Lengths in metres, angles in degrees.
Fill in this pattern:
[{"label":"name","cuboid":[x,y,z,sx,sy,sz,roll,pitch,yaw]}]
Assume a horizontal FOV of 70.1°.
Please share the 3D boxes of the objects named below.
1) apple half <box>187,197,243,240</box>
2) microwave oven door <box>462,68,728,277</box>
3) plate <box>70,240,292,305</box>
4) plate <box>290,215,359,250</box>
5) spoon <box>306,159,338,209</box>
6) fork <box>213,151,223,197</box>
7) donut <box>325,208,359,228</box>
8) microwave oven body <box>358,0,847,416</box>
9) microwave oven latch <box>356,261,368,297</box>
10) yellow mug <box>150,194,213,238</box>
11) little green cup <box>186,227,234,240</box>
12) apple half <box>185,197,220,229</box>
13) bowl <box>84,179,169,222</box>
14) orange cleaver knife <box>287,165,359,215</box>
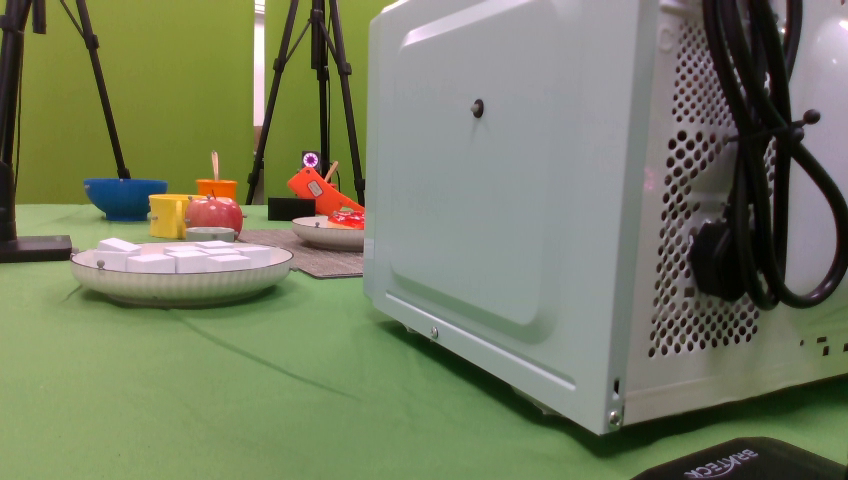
[{"label":"apple half","cuboid":[-0.305,-0.026,0.907,0.053,0.074,0.081,12,8,31]},{"label":"microwave oven door","cuboid":[0.205,-0.096,0.812,0.354,0.243,0.039,9,10,41]},{"label":"plate","cuboid":[-0.242,0.031,0.618,0.208,0.039,0.207,2,8,0]},{"label":"plate","cuboid":[-0.110,-0.014,0.974,0.209,0.038,0.209,3,8,0]},{"label":"spoon","cuboid":[-0.257,-0.146,1.567,0.041,0.022,0.193,1,51,20]},{"label":"fork","cuboid":[-0.493,-0.143,1.442,0.028,0.018,0.206,-3,52,-19]},{"label":"donut","cuboid":[-0.110,-0.025,0.974,0.099,0.048,0.099,5,8,0]},{"label":"microwave oven body","cuboid":[0.210,-0.047,0.475,0.444,0.260,0.324,-1,7,-28]},{"label":"microwave oven latch","cuboid":[-0.020,0.033,0.531,0.079,0.029,0.030,-1,7,-27]},{"label":"yellow mug","cuboid":[-0.401,-0.040,1.003,0.100,0.064,0.130,-1,9,-20]},{"label":"little green cup","cuboid":[-0.285,0.005,0.805,0.061,0.038,0.061,2,8,0]},{"label":"apple half","cuboid":[-0.338,-0.031,0.927,0.032,0.081,0.081,12,12,31]},{"label":"bowl","cuboid":[-0.584,-0.078,1.194,0.151,0.077,0.151,3,8,0]},{"label":"orange cleaver knife","cuboid":[-0.211,-0.092,1.382,0.212,0.077,0.012,34,1,-15]}]
